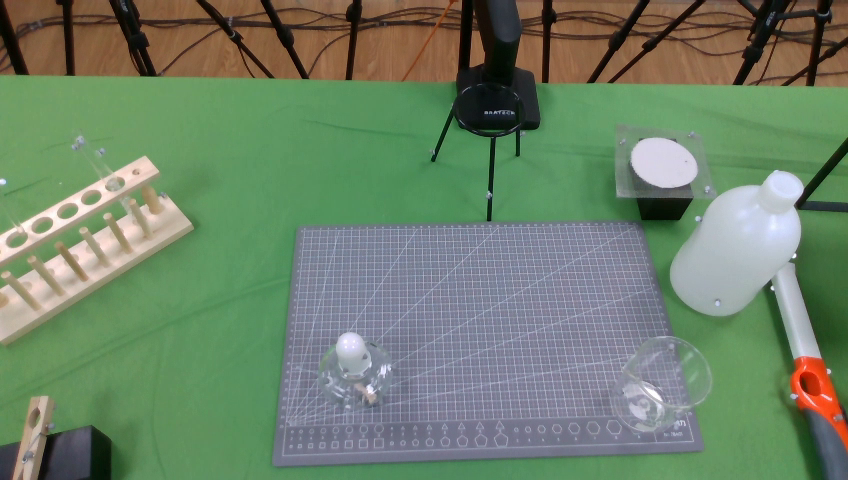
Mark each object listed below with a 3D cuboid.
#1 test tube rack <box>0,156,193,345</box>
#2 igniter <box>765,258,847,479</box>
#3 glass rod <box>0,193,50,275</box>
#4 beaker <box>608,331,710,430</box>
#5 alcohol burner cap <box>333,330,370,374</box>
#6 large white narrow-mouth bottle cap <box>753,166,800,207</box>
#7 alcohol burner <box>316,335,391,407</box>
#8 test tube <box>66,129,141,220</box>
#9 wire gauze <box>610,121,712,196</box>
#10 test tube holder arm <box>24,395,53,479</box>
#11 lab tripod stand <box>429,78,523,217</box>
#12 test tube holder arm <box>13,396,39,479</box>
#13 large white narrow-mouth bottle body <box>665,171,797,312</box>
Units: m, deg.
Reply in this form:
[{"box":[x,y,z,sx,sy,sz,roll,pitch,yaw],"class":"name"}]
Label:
[{"box":[-0.405,0.009,0.705,0.242,0.086,0.066,-37,65,-23],"class":"test tube rack"},{"box":[0.430,0.139,0.682,0.057,0.025,0.274,9,56,-8],"class":"igniter"},{"box":[-0.438,-0.021,0.644,0.008,0.201,0.008,3,48,-3],"class":"glass rod"},{"box":[0.233,0.148,0.623,0.084,0.101,0.073,4,56,2],"class":"beaker"},{"box":[-0.072,0.107,0.588,0.034,0.048,0.033,-2,56,4],"class":"alcohol burner cap"},{"box":[0.349,-0.053,0.602,0.038,0.024,0.037,1,56,-1],"class":"large white narrow-mouth bottle cap"},{"box":[-0.073,0.126,0.619,0.078,0.120,0.077,2,55,-3],"class":"alcohol burner"},{"box":[-0.365,-0.071,0.699,0.017,0.151,0.017,-2,56,3],"class":"test tube"},{"box":[0.305,-0.106,0.791,0.121,0.011,0.124,5,56,2],"class":"wire gauze"},{"box":[-0.359,0.230,0.546,0.013,0.015,0.176,-9,61,1],"class":"test tube holder arm"},{"box":[0.076,-0.125,0.780,0.148,0.132,0.147,2,58,-3],"class":"lab tripod stand"},{"box":[-0.370,0.192,0.568,0.010,0.015,0.087,-8,61,2],"class":"test tube holder arm"},{"box":[0.348,-0.004,0.673,0.102,0.196,0.101,1,56,-1],"class":"large white narrow-mouth bottle body"}]
